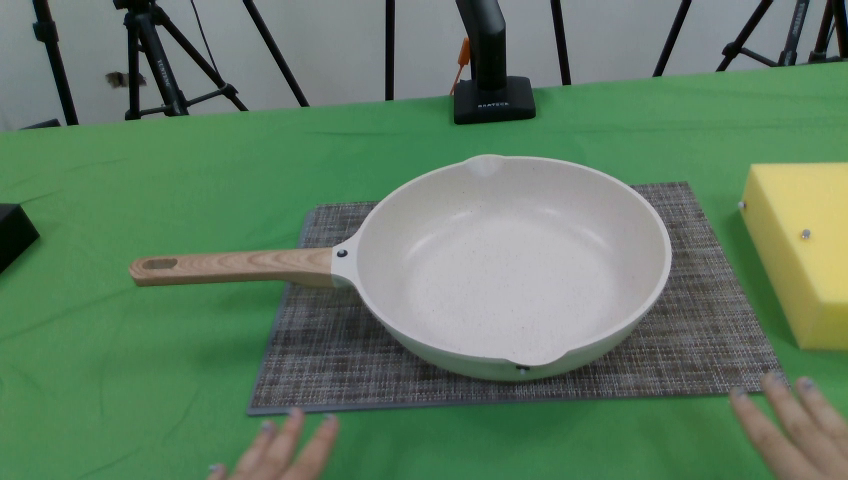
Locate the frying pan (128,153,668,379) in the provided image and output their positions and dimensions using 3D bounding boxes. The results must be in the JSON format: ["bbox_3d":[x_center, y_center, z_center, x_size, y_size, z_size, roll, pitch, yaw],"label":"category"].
[{"bbox_3d":[-0.027,0.020,0.577,0.488,0.103,0.303,0,38,-4],"label":"frying pan"}]

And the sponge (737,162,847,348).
[{"bbox_3d":[0.387,0.006,0.567,0.118,0.061,0.205,0,39,9],"label":"sponge"}]
